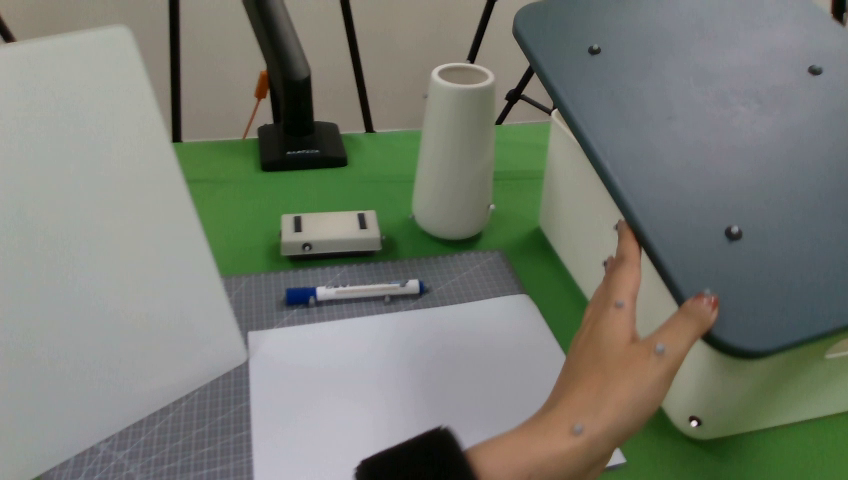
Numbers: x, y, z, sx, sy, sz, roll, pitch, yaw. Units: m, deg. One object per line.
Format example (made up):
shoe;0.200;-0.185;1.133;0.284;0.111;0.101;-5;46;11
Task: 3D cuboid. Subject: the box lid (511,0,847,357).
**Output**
box lid;0.246;-0.098;0.464;0.263;0.015;0.367;-16;54;-6

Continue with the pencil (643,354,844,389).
pencil;0.310;0.129;0.588;0.194;0.012;0.012;8;37;2

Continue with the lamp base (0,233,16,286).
lamp base;-0.514;-0.031;0.572;0.178;0.182;0.160;19;39;21

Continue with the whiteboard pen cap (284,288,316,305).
whiteboard pen cap;-0.128;0.059;0.629;0.033;0.018;0.018;-1;37;-12

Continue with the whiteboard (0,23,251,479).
whiteboard;-0.308;0.006;0.490;0.217;0.307;0.142;-27;28;-34

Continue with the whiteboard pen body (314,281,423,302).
whiteboard pen body;-0.070;0.056;0.640;0.141;0.017;0.017;-3;38;-11

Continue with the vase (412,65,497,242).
vase;0.040;-0.096;0.706;0.098;0.201;0.097;4;37;-2

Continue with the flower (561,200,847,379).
flower;0.307;0.052;0.680;0.044;0.038;0.358;-23;48;-40

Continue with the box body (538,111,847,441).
box body;0.299;0.008;0.629;0.255;0.162;0.360;-6;38;-13

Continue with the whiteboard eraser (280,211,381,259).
whiteboard eraser;-0.108;-0.004;0.699;0.113;0.042;0.055;-4;36;-11
